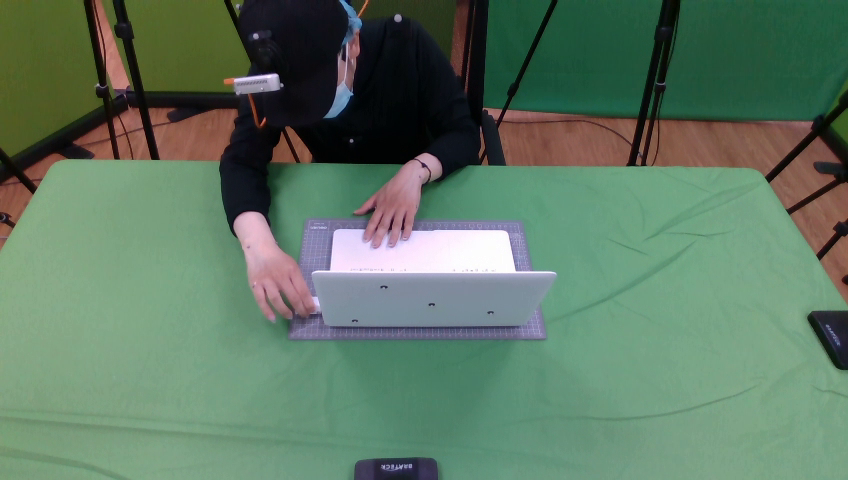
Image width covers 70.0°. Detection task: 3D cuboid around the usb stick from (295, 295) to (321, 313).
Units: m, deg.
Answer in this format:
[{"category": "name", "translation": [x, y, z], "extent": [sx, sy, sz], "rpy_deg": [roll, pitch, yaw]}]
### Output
[{"category": "usb stick", "translation": [-0.194, 0.112, 1.057], "extent": [0.059, 0.027, 0.021], "rpy_deg": [6, 42, -14]}]

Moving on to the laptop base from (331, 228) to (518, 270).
[{"category": "laptop base", "translation": [0.002, 0.064, 1.135], "extent": [0.354, 0.023, 0.234], "rpy_deg": [0, 43, -3]}]

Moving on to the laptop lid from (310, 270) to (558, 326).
[{"category": "laptop lid", "translation": [0.011, 0.096, 0.948], "extent": [0.357, 0.242, 0.013], "rpy_deg": [1, 64, -5]}]
